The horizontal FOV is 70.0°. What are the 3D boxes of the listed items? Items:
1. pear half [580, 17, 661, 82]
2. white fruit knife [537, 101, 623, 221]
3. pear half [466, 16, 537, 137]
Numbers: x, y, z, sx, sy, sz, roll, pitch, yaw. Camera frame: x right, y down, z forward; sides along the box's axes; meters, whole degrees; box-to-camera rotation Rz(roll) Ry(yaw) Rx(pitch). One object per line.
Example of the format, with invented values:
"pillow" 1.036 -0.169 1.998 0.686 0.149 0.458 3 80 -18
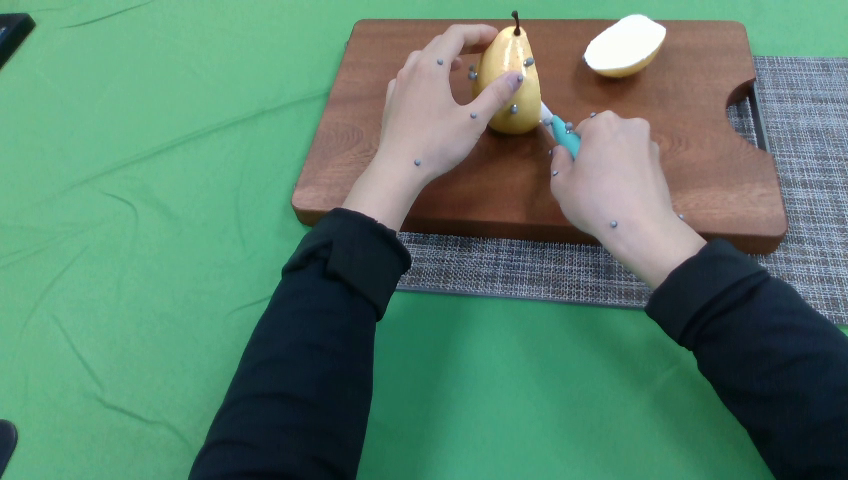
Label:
"pear half" 0.186 -0.173 0.568 0.070 0.031 0.087 10 51 30
"white fruit knife" 0.112 -0.091 0.515 0.016 0.028 0.205 -18 46 -7
"pear half" 0.064 -0.138 0.512 0.056 0.111 0.075 -18 51 -6
